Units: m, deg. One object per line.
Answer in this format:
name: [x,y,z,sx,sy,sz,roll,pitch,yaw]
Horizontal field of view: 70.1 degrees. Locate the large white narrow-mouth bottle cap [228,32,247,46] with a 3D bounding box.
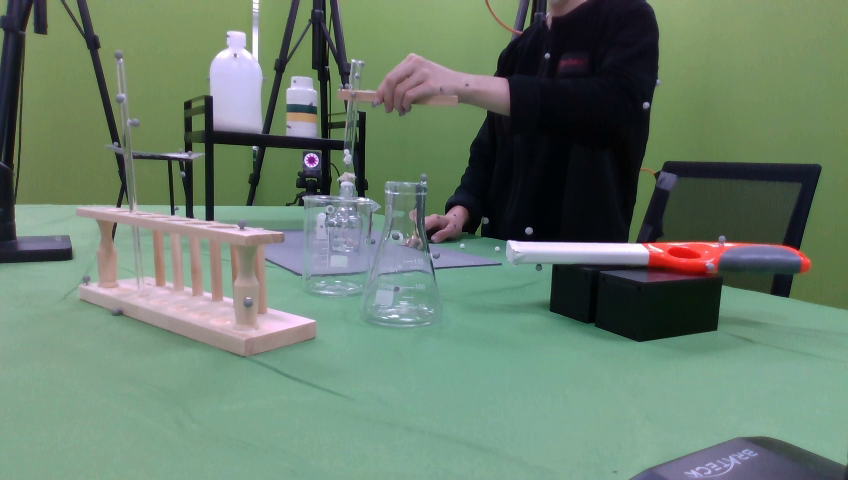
large white narrow-mouth bottle cap: [-0.364,-0.390,1.180,0.038,0.024,0.037,3,8,0]

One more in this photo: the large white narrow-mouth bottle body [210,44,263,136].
large white narrow-mouth bottle body: [-0.369,-0.305,1.194,0.102,0.194,0.102,3,8,0]

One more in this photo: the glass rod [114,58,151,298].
glass rod: [-0.236,-0.044,0.493,0.008,0.199,0.008,1,16,0]

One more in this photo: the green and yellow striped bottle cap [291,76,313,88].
green and yellow striped bottle cap: [-0.250,-0.321,1.237,0.045,0.020,0.045,4,5,0]

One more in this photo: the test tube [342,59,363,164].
test tube: [-0.103,-0.182,0.866,0.017,0.150,0.017,8,22,-3]

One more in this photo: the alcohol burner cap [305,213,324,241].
alcohol burner cap: [-0.185,-0.023,1.027,0.034,0.048,0.034,2,6,0]

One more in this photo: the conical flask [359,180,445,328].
conical flask: [-0.017,0.010,0.522,0.075,0.122,0.075,2,7,0]

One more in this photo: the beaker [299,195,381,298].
beaker: [-0.087,0.006,0.626,0.084,0.100,0.074,1,8,-17]

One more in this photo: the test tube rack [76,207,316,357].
test tube rack: [-0.196,0.023,0.500,0.241,0.085,0.067,8,9,36]

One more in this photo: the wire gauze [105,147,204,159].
wire gauze: [-0.407,-0.131,0.928,0.125,0.011,0.121,2,6,-11]

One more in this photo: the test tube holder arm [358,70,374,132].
test tube holder arm: [-0.080,-0.195,0.848,0.010,0.087,0.015,-6,-6,-32]

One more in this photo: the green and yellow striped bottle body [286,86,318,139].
green and yellow striped bottle body: [-0.251,-0.270,1.245,0.063,0.119,0.063,2,7,0]

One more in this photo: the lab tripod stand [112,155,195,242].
lab tripod stand: [-0.405,-0.064,0.931,0.148,0.131,0.148,1,6,0]

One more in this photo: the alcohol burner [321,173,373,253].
alcohol burner: [-0.115,-0.041,0.905,0.078,0.119,0.078,1,6,0]

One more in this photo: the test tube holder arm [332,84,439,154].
test tube holder arm: [-0.051,-0.170,0.863,0.179,0.013,0.015,27,-25,-27]

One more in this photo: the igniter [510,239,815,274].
igniter: [0.220,0.015,0.565,0.277,0.025,0.057,2,16,-1]
